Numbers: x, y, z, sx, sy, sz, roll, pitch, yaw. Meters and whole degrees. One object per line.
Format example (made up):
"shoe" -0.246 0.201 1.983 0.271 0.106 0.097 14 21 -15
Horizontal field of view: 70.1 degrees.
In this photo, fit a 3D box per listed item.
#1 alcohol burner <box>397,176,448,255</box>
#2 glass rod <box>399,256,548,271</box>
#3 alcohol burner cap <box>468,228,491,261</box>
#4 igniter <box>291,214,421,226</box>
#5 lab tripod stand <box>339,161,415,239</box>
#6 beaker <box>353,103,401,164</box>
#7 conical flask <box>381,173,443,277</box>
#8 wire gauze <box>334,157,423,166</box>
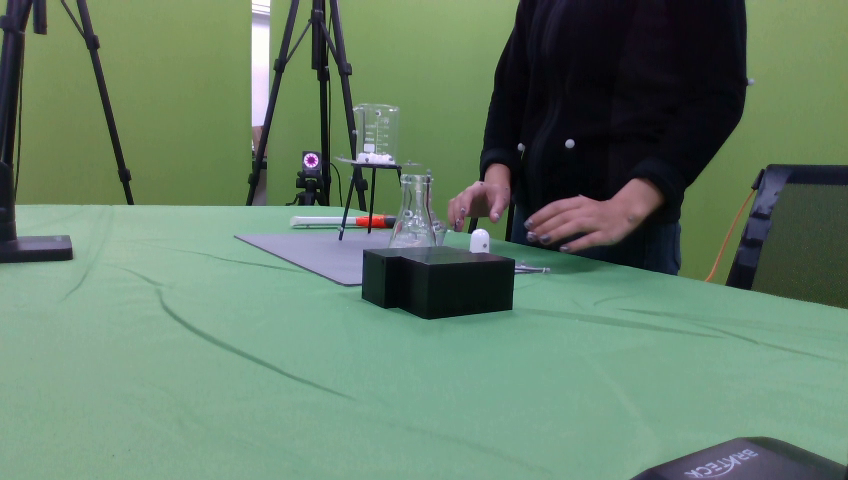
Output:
"alcohol burner" -0.001 -0.037 0.903 0.078 0.119 0.078 4 9 0
"glass rod" 0.064 0.030 0.805 0.199 0.008 0.008 4 7 10
"alcohol burner cap" 0.082 0.006 0.878 0.034 0.048 0.034 3 7 0
"igniter" -0.135 -0.041 1.250 0.278 0.025 0.057 -1 -3 -28
"lab tripod stand" -0.082 -0.070 1.059 0.148 0.131 0.148 4 6 0
"beaker" -0.084 -0.183 1.045 0.084 0.100 0.074 4 6 3
"conical flask" -0.012 -0.020 0.731 0.075 0.122 0.075 2 7 0
"wire gauze" -0.081 -0.135 1.051 0.122 0.011 0.124 2 5 -30
